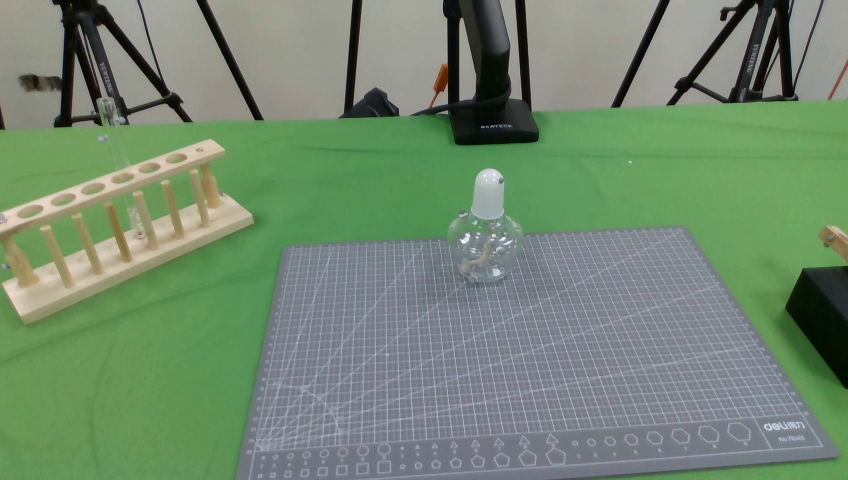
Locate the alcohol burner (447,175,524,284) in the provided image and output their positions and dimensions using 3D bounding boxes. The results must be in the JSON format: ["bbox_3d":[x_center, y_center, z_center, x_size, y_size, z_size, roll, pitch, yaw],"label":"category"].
[{"bbox_3d":[0.062,-0.015,0.596,0.078,0.120,0.077,1,39,0],"label":"alcohol burner"}]

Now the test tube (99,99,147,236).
[{"bbox_3d":[-0.306,-0.070,0.620,0.017,0.151,0.017,1,32,-1],"label":"test tube"}]

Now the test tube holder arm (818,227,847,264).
[{"bbox_3d":[0.394,0.019,0.549,0.010,0.015,0.087,-5,38,-12],"label":"test tube holder arm"}]

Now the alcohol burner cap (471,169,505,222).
[{"bbox_3d":[0.062,-0.045,0.575,0.034,0.048,0.033,1,36,-1],"label":"alcohol burner cap"}]

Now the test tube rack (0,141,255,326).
[{"bbox_3d":[-0.307,-0.015,0.629,0.242,0.086,0.066,-29,45,-32],"label":"test tube rack"}]

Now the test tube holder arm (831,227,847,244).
[{"bbox_3d":[0.409,0.045,0.516,0.013,0.015,0.176,-5,38,-13],"label":"test tube holder arm"}]
